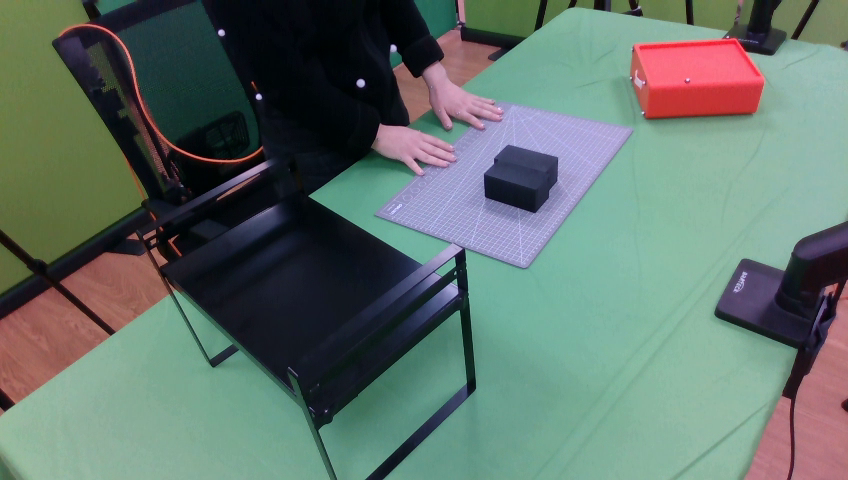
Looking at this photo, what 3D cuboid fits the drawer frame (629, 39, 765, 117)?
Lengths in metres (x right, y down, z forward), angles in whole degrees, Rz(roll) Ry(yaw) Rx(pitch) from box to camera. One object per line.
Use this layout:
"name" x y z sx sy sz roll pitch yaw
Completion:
"drawer frame" 0.543 -0.332 1.234 0.213 0.083 0.201 -1 41 6

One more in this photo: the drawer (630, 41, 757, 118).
"drawer" 0.541 -0.331 1.234 0.211 0.073 0.194 -1 40 8

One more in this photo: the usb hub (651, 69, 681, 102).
"usb hub" 0.501 -0.319 1.249 0.049 0.025 0.125 10 38 20
